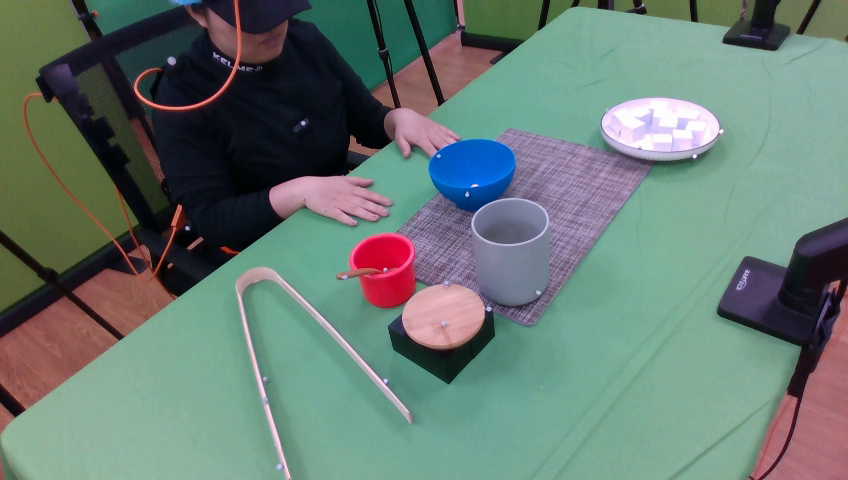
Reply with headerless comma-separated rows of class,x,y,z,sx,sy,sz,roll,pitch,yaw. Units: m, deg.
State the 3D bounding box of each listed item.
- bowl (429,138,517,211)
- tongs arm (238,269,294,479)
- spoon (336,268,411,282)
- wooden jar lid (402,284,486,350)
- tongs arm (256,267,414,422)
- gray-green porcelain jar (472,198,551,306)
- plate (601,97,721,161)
bowl,0.087,-0.104,1.043,0.151,0.077,0.150,-5,40,5
tongs arm,-0.208,0.163,0.824,0.051,0.026,0.381,-22,40,-15
spoon,-0.071,0.047,0.850,0.041,0.195,0.021,18,93,24
wooden jar lid,0.026,0.101,0.786,0.108,0.021,0.108,-5,39,4
tongs arm,-0.137,0.132,0.853,0.028,0.028,0.384,-34,46,-23
gray-green porcelain jar,0.125,0.021,0.850,0.106,0.127,0.105,-6,40,5
plate,0.436,-0.203,1.126,0.209,0.038,0.208,-5,39,5
